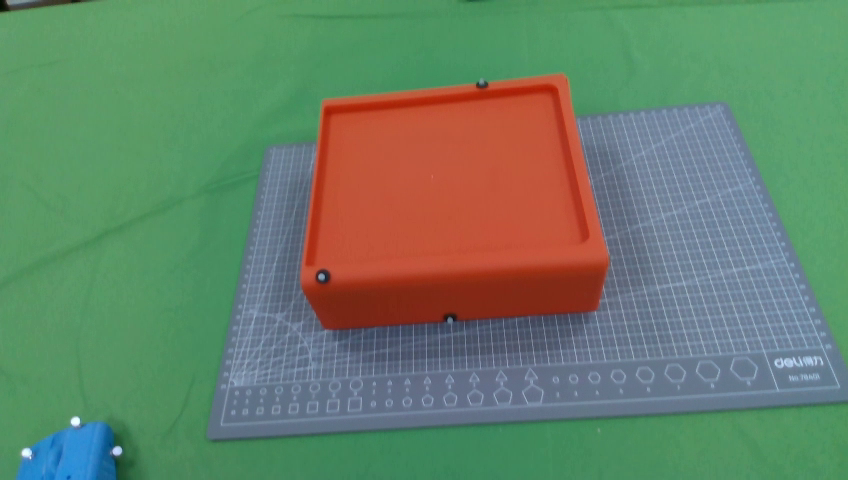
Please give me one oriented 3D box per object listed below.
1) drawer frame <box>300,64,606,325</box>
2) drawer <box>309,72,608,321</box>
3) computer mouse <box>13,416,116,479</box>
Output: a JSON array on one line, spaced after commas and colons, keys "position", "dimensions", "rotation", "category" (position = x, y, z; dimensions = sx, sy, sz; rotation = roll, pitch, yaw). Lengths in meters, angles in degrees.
[{"position": [0.022, -0.039, 0.490], "dimensions": [0.213, 0.083, 0.199], "rotation": [-6, 55, 5], "category": "drawer frame"}, {"position": [0.025, -0.038, 0.491], "dimensions": [0.211, 0.074, 0.192], "rotation": [-5, 55, 5], "category": "drawer"}, {"position": [-0.243, 0.174, 0.406], "dimensions": [0.063, 0.041, 0.116], "rotation": [-21, 51, -5], "category": "computer mouse"}]
